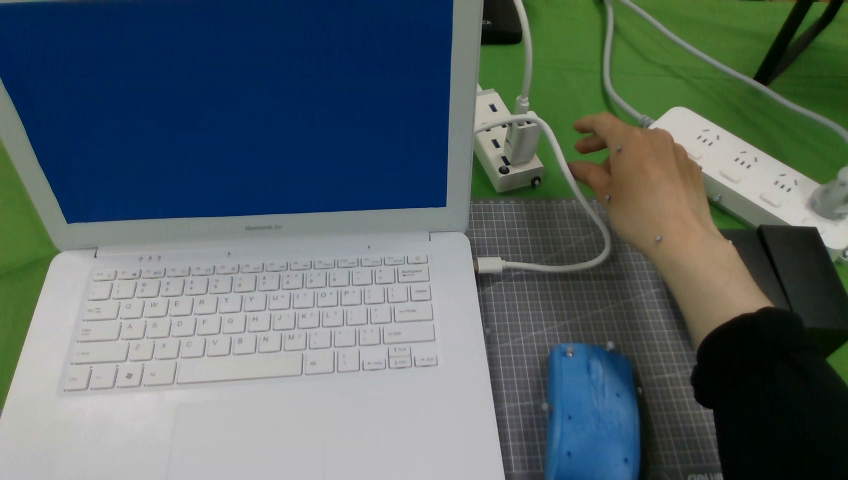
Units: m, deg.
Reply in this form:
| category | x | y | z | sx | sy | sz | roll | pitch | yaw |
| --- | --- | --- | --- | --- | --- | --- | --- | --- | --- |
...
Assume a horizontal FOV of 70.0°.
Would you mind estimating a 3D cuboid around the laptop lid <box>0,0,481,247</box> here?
| category | x | y | z | sx | sy | sz | roll | pitch | yaw |
| --- | --- | --- | --- | --- | --- | --- | --- | --- | --- |
| laptop lid | -0.137 | -0.090 | 0.454 | 0.357 | 0.244 | 0.013 | -4 | 40 | -4 |

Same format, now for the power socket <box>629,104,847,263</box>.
| category | x | y | z | sx | sy | sz | roll | pitch | yaw |
| --- | --- | --- | --- | --- | --- | --- | --- | --- | --- |
| power socket | 0.311 | -0.061 | 0.591 | 0.072 | 0.033 | 0.225 | -37 | 63 | -27 |

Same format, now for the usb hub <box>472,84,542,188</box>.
| category | x | y | z | sx | sy | sz | roll | pitch | yaw |
| --- | --- | --- | --- | --- | --- | --- | --- | --- | --- |
| usb hub | 0.071 | -0.108 | 0.619 | 0.049 | 0.025 | 0.124 | -15 | 55 | -13 |

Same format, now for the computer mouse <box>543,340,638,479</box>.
| category | x | y | z | sx | sy | sz | roll | pitch | yaw |
| --- | --- | --- | --- | --- | --- | --- | --- | --- | --- |
| computer mouse | 0.120 | 0.122 | 0.438 | 0.063 | 0.041 | 0.116 | 8 | 49 | 7 |

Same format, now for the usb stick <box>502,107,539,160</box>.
| category | x | y | z | sx | sy | sz | roll | pitch | yaw |
| --- | --- | --- | --- | --- | --- | --- | --- | --- | --- |
| usb stick | 0.090 | -0.095 | 0.574 | 0.027 | 0.059 | 0.021 | -21 | 55 | -13 |

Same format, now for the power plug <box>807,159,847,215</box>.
| category | x | y | z | sx | sy | sz | roll | pitch | yaw |
| --- | --- | --- | --- | --- | --- | --- | --- | --- | --- |
| power plug | 0.385 | -0.047 | 0.556 | 0.072 | 0.053 | 0.035 | -29 | 58 | -20 |

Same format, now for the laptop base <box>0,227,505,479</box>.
| category | x | y | z | sx | sy | sz | roll | pitch | yaw |
| --- | --- | --- | --- | --- | --- | --- | --- | --- | --- |
| laptop base | -0.128 | 0.096 | 0.462 | 0.355 | 0.023 | 0.233 | -3 | 57 | -4 |
